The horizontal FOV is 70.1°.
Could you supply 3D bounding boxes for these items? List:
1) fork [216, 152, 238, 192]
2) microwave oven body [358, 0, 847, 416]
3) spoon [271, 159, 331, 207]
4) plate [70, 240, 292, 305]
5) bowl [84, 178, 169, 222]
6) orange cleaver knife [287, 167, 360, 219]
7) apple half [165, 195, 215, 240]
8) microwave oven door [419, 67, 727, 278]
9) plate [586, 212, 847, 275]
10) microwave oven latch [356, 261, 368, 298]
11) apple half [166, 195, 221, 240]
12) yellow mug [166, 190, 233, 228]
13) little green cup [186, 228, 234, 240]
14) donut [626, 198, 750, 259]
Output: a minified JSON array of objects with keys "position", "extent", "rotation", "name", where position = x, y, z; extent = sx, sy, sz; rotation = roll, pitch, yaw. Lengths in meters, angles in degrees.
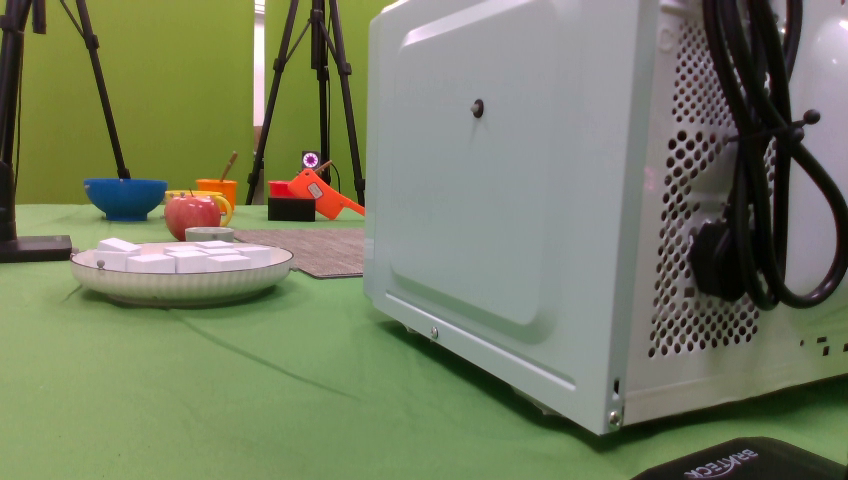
[{"position":[-0.455,-0.132,1.367],"extent":[0.028,0.018,0.207],"rotation":[-2,-35,-37],"name":"fork"},{"position":[0.211,-0.047,0.474],"extent":[0.444,0.260,0.324],"rotation":[-1,7,-28],"name":"microwave oven body"},{"position":[-0.308,-0.142,1.514],"extent":[0.193,0.021,0.041],"rotation":[-41,5,9],"name":"spoon"},{"position":[-0.241,0.031,0.618],"extent":[0.208,0.039,0.207],"rotation":[2,8,0],"name":"plate"},{"position":[-0.584,-0.078,1.194],"extent":[0.151,0.077,0.151],"rotation":[3,8,0],"name":"bowl"},{"position":[-0.209,-0.089,1.383],"extent":[0.212,0.077,0.012],"rotation":[31,3,-15],"name":"orange cleaver knife"},{"position":[-0.377,-0.038,0.964],"extent":[0.082,0.081,0.032],"rotation":[-4,15,-39],"name":"apple half"},{"position":[0.170,-0.089,0.753],"extent":[0.355,0.243,0.039],"rotation":[5,9,17],"name":"microwave oven door"},{"position":[0.242,0.000,0.512],"extent":[0.209,0.038,0.209],"rotation":[2,6,0],"name":"plate"},{"position":[-0.019,0.033,0.529],"extent":[0.079,0.029,0.030],"rotation":[0,7,-25],"name":"microwave oven latch"},{"position":[-0.351,-0.031,0.935],"extent":[0.081,0.074,0.053],"rotation":[1,11,-40],"name":"apple half"},{"position":[-0.415,-0.057,1.132],"extent":[0.130,0.064,0.100],"rotation":[6,8,16],"name":"yellow mug"},{"position":[-0.284,0.005,0.805],"extent":[0.061,0.038,0.061],"rotation":[2,8,0],"name":"little green cup"},{"position":[0.224,-0.009,0.520],"extent":[0.099,0.048,0.099],"rotation":[7,5,0],"name":"donut"}]
